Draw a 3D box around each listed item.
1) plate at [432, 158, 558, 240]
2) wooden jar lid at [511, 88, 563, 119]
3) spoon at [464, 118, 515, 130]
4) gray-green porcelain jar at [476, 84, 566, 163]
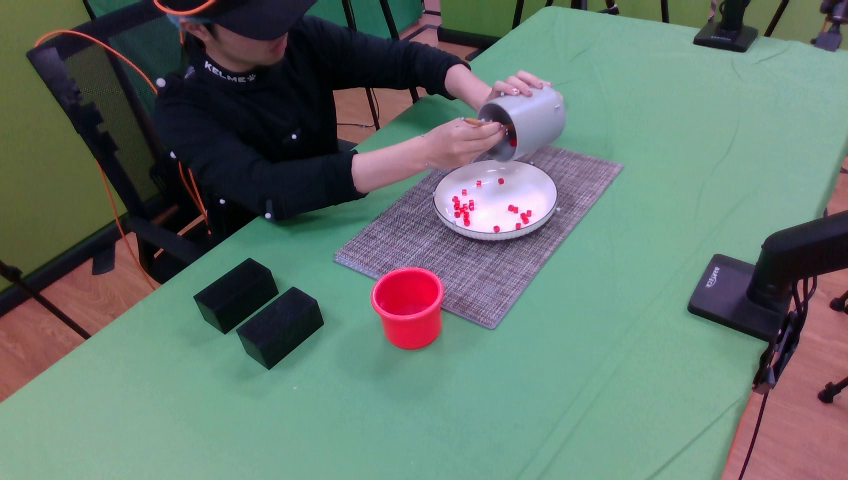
[{"bbox_3d":[0.118,-0.066,1.013,0.207,0.039,0.206,-4,41,4],"label":"plate"},{"bbox_3d":[0.237,-0.286,1.272,0.108,0.021,0.108,-4,42,5],"label":"wooden jar lid"},{"bbox_3d":[0.132,-0.187,0.987,0.195,0.021,0.041,-10,39,-43],"label":"spoon"},{"bbox_3d":[0.169,-0.201,1.025,0.127,0.106,0.105,-27,44,-28],"label":"gray-green porcelain jar"}]
